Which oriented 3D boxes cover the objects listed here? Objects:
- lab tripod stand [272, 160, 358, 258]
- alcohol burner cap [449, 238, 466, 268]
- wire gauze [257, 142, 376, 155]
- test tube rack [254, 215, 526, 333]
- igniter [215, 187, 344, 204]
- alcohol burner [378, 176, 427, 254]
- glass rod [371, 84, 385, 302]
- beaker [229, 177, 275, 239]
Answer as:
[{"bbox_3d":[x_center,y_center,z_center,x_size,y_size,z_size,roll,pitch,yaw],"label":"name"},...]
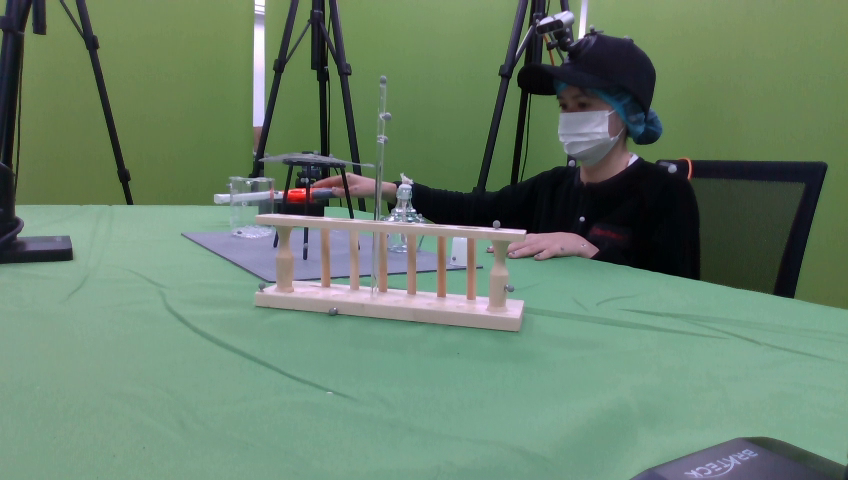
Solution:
[{"bbox_3d":[-0.159,-0.048,0.876,0.148,0.131,0.148,3,5,0],"label":"lab tripod stand"},{"bbox_3d":[0.051,0.014,0.828,0.034,0.048,0.034,2,6,0],"label":"alcohol burner cap"},{"bbox_3d":[-0.155,-0.130,0.871,0.124,0.011,0.122,-1,7,36],"label":"wire gauze"},{"bbox_3d":[-0.030,0.025,0.558,0.242,0.085,0.067,4,7,12],"label":"test tube rack"},{"bbox_3d":[-0.290,-0.093,1.256,0.278,0.025,0.057,-6,11,-34],"label":"igniter"},{"bbox_3d":[-0.033,-0.039,0.936,0.078,0.119,0.078,1,6,0],"label":"alcohol burner"},{"bbox_3d":[-0.041,-0.041,0.548,0.008,0.199,0.008,2,2,0],"label":"glass rod"},{"bbox_3d":[-0.292,-0.056,1.023,0.074,0.100,0.083,-1,8,-26],"label":"beaker"}]
